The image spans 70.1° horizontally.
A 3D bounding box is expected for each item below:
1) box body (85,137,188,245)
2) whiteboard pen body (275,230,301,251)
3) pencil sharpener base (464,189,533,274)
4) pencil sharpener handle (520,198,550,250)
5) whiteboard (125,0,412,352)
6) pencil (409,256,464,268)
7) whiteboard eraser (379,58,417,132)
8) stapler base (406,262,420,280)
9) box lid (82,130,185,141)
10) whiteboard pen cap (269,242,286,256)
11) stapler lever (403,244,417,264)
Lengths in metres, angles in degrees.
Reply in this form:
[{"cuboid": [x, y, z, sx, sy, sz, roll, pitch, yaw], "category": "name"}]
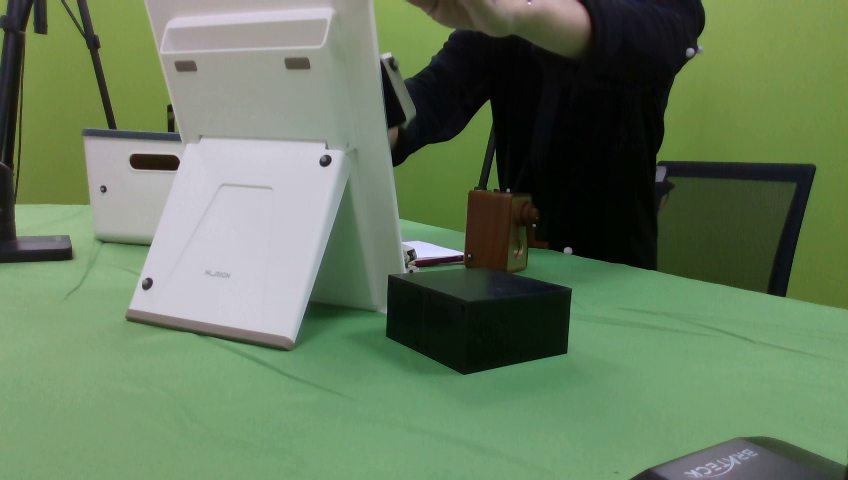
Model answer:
[{"cuboid": [-0.340, -0.088, 1.022, 0.254, 0.160, 0.364, 4, 7, 11], "category": "box body"}, {"cuboid": [-0.203, 0.002, 0.894, 0.017, 0.017, 0.140, 2, 9, -1], "category": "whiteboard pen body"}, {"cuboid": [0.103, -0.012, 0.812, 0.076, 0.107, 0.061, 8, 9, 36], "category": "pencil sharpener base"}, {"cuboid": [0.146, -0.019, 0.784, 0.030, 0.068, 0.036, 8, 24, 36], "category": "pencil sharpener handle"}, {"cuboid": [-0.151, -0.050, 0.471, 0.216, 0.305, 0.144, 6, 27, 24], "category": "whiteboard"}, {"cuboid": [0.042, 0.028, 0.848, 0.012, 0.012, 0.195, 10, 10, 43], "category": "pencil"}, {"cuboid": [-0.064, -0.108, 0.505, 0.112, 0.055, 0.042, -12, 16, 31], "category": "whiteboard eraser"}, {"cuboid": [-0.069, 0.027, 0.759, 0.130, 0.024, 0.041, 10, 14, 23], "category": "stapler base"}, {"cuboid": [-0.337, -0.161, 1.011, 0.263, 0.015, 0.372, 4, 7, 11], "category": "box lid"}, {"cuboid": [-0.202, 0.012, 0.836, 0.018, 0.018, 0.033, 2, 8, 0], "category": "whiteboard pen cap"}, {"cuboid": [-0.066, 0.003, 0.754, 0.117, 0.040, 0.027, 9, 14, 23], "category": "stapler lever"}]
